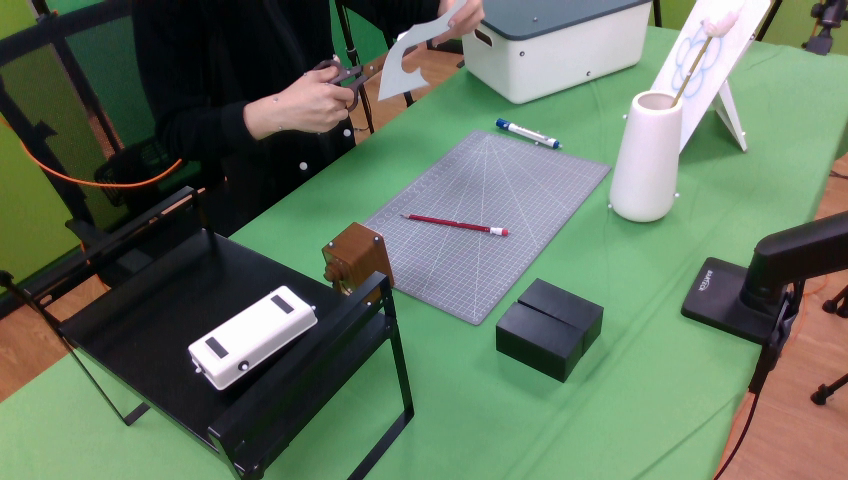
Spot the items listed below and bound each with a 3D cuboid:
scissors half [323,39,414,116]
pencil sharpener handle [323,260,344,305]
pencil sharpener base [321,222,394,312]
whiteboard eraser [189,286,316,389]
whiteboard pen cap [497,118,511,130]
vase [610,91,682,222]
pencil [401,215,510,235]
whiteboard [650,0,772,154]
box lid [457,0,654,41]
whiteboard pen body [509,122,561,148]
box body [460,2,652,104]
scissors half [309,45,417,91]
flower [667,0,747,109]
[{"bbox_3d":[-0.082,-0.243,0.903,0.175,0.040,0.013,-36,13,20],"label":"scissors half"},{"bbox_3d":[-0.131,0.061,0.839,0.035,0.068,0.031,29,56,28],"label":"pencil sharpener handle"},{"bbox_3d":[-0.096,0.041,0.873,0.061,0.107,0.077,26,54,32],"label":"pencil sharpener base"},{"bbox_3d":[-0.166,0.096,0.593,0.113,0.042,0.055,-36,47,-29],"label":"whiteboard eraser"},{"bbox_3d":[0.165,-0.235,1.227,0.033,0.018,0.018,31,53,31],"label":"whiteboard pen cap"},{"bbox_3d":[0.348,-0.125,0.935,0.098,0.201,0.097,-3,40,3],"label":"vase"},{"bbox_3d":[0.049,-0.027,1.007,0.193,0.012,0.012,10,43,21],"label":"pencil"},{"bbox_3d":[0.543,-0.298,1.076,0.144,0.305,0.216,12,40,-7],"label":"whiteboard"},{"bbox_3d":[0.285,-0.522,1.323,0.373,0.015,0.261,-22,43,-16],"label":"box lid"},{"bbox_3d":[0.209,-0.212,1.195,0.139,0.017,0.017,30,53,33],"label":"whiteboard pen body"},{"bbox_3d":[0.291,-0.465,1.371,0.365,0.161,0.252,-22,42,-16],"label":"box body"},{"bbox_3d":[-0.093,-0.260,0.897,0.175,0.040,0.013,-13,25,13],"label":"scissors half"},{"bbox_3d":[0.354,-0.187,0.879,0.038,0.362,0.044,30,48,14],"label":"flower"}]
